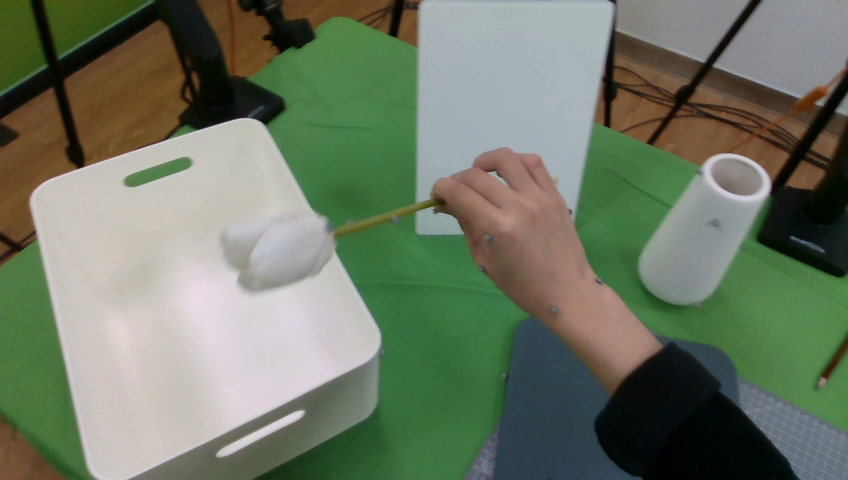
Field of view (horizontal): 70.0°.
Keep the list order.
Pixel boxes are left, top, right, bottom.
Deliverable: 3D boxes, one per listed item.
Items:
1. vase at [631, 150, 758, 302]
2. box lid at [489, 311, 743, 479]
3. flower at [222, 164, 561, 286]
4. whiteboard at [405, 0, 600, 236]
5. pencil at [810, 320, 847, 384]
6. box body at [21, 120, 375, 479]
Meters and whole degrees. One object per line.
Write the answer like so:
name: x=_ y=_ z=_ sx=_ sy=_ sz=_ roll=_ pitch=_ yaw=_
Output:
vase: x=0.316 y=-0.012 z=0.717 sx=0.098 sy=0.202 sz=0.097 roll=1 pitch=52 yaw=-1
box lid: x=0.201 y=0.248 z=0.633 sx=0.263 sy=0.015 sz=0.368 roll=10 pitch=54 yaw=5
flower: x=0.018 y=-0.031 z=0.437 sx=0.043 sy=0.038 sz=0.362 roll=26 pitch=28 yaw=30
whiteboard: x=0.085 y=-0.173 z=0.801 sx=0.217 sy=0.308 sz=0.142 roll=-1 pitch=34 yaw=-2
pencil: x=0.519 y=0.113 z=0.748 sx=0.194 sy=0.012 sz=0.012 roll=-38 pitch=63 yaw=-25
box body: x=-0.235 y=0.069 z=0.658 sx=0.254 sy=0.162 sz=0.360 roll=-24 pitch=58 yaw=-19
